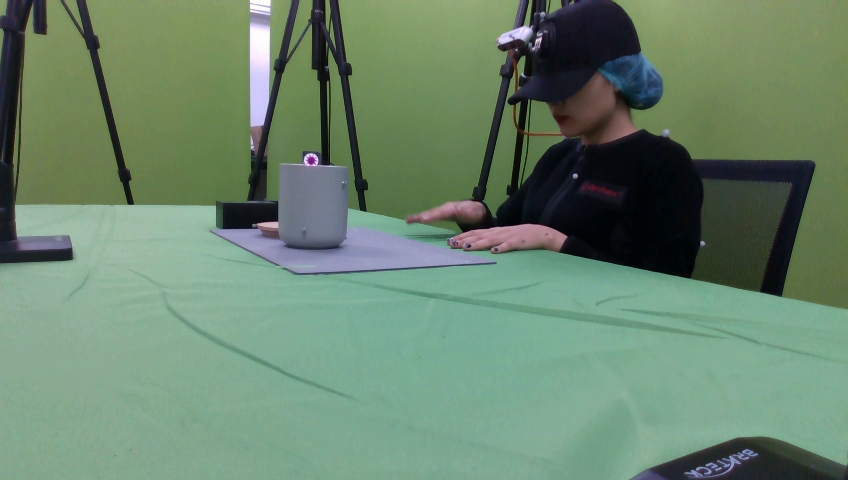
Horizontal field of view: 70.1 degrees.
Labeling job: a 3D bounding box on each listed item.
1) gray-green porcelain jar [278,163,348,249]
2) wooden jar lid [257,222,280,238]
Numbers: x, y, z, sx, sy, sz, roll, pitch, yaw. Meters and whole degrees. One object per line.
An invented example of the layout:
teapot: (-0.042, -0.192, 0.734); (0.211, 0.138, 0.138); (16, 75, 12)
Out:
gray-green porcelain jar: (-0.171, -0.053, 0.934); (0.106, 0.126, 0.106); (2, 7, 0)
wooden jar lid: (-0.234, -0.017, 1.053); (0.108, 0.020, 0.108); (2, 9, 0)
